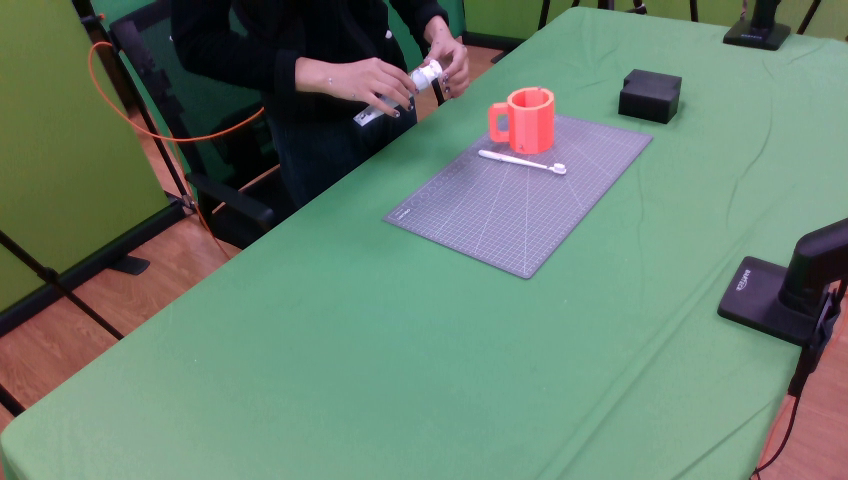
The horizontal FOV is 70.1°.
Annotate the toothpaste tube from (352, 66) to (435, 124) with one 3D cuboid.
[{"bbox_3d":[-0.051,-0.254,1.056,0.165,0.035,0.054,-34,31,-8],"label":"toothpaste tube"}]

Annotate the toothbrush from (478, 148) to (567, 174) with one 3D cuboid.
[{"bbox_3d":[0.180,-0.149,1.123,0.180,0.017,0.014,18,62,30],"label":"toothbrush"}]

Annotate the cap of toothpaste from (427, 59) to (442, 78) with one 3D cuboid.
[{"bbox_3d":[0.017,-0.300,1.065,0.011,0.037,0.037,-37,47,-19],"label":"cap of toothpaste"}]

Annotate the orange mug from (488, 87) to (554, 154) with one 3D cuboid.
[{"bbox_3d":[0.185,-0.227,1.151,0.126,0.101,0.083,1,41,5],"label":"orange mug"}]
